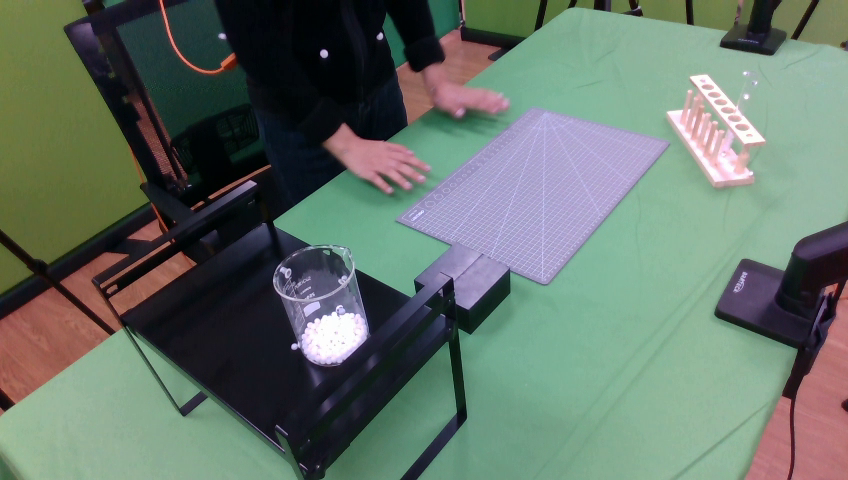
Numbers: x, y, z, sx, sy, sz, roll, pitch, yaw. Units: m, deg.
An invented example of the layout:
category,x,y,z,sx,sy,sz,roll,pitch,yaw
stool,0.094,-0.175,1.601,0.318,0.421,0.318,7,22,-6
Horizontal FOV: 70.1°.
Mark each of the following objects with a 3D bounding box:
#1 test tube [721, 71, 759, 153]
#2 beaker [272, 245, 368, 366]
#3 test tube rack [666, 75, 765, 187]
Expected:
category,x,y,z,sx,sy,sz,roll,pitch,yaw
test tube,0.529,-0.212,1.015,0.017,0.151,0.017,0,40,0
beaker,-0.093,0.064,0.578,0.073,0.101,0.084,21,48,29
test tube rack,0.512,-0.201,1.082,0.067,0.085,0.241,-6,41,2
